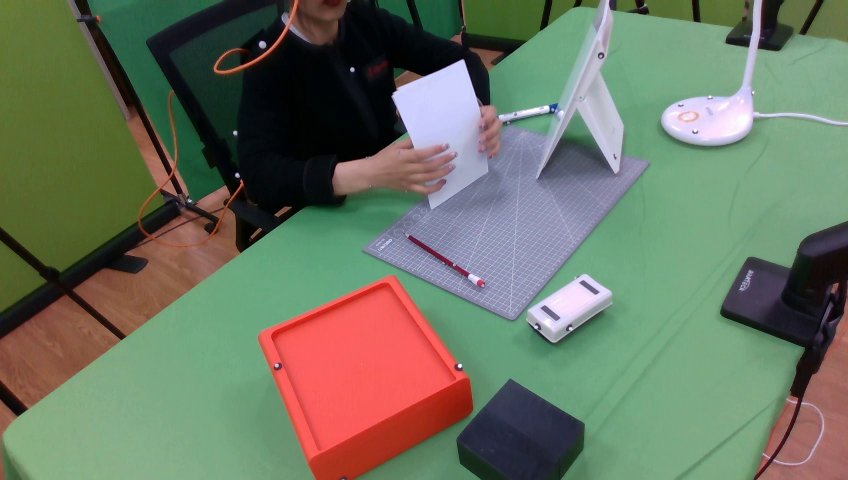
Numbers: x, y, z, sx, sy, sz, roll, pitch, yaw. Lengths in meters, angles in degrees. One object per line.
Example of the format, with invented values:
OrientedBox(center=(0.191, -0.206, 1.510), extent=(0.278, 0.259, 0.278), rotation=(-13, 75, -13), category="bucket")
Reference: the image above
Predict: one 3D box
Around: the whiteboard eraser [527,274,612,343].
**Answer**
OrientedBox(center=(0.198, 0.094, 0.820), extent=(0.113, 0.042, 0.055), rotation=(-29, 43, -22), category="whiteboard eraser")

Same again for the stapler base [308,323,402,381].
OrientedBox(center=(-0.094, 0.142, 0.812), extent=(0.131, 0.024, 0.041), rotation=(-25, 29, -18), category="stapler base")

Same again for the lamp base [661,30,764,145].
OrientedBox(center=(0.535, -0.287, 1.096), extent=(0.179, 0.181, 0.159), rotation=(-10, 40, -4), category="lamp base")

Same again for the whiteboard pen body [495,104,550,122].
OrientedBox(center=(0.216, -0.266, 1.255), extent=(0.141, 0.017, 0.017), rotation=(-12, 40, -5), category="whiteboard pen body")

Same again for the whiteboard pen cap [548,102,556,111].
OrientedBox(center=(0.273, -0.279, 1.259), extent=(0.033, 0.018, 0.018), rotation=(-10, 40, -6), category="whiteboard pen cap")

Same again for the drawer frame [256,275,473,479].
OrientedBox(center=(-0.078, 0.164, 0.756), extent=(0.202, 0.083, 0.211), rotation=(-23, 43, -17), category="drawer frame")

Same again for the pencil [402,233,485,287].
OrientedBox(center=(0.026, 0.027, 0.949), extent=(0.012, 0.012, 0.192), rotation=(-34, 45, -26), category="pencil")

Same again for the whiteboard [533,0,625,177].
OrientedBox(center=(0.321, -0.258, 1.049), extent=(0.144, 0.306, 0.217), rotation=(20, 45, 4), category="whiteboard")

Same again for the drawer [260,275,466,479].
OrientedBox(center=(-0.080, 0.162, 0.760), extent=(0.195, 0.073, 0.210), rotation=(-22, 42, -16), category="drawer")

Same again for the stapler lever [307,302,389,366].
OrientedBox(center=(-0.101, 0.121, 0.798), extent=(0.118, 0.040, 0.026), rotation=(-26, 29, -17), category="stapler lever")
